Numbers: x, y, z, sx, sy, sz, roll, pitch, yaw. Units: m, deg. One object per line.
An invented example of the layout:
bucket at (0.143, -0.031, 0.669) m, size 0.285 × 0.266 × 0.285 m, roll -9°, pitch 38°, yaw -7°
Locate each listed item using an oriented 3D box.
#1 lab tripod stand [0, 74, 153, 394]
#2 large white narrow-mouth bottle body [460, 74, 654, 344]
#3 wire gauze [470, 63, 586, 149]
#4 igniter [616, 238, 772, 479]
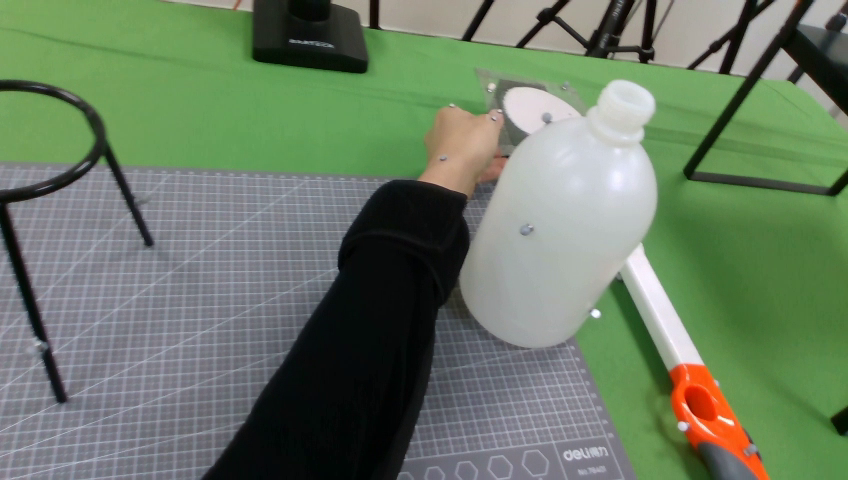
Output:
lab tripod stand at (-0.217, -0.008, 0.336) m, size 0.149 × 0.132 × 0.147 m, roll 11°, pitch 46°, yaw -11°
large white narrow-mouth bottle body at (0.094, -0.020, 0.407) m, size 0.102 × 0.196 × 0.101 m, roll 9°, pitch 46°, yaw -9°
wire gauze at (0.111, -0.126, 0.580) m, size 0.122 × 0.011 × 0.123 m, roll 2°, pitch 48°, yaw -19°
igniter at (0.197, 0.101, 0.450) m, size 0.057 × 0.025 × 0.273 m, roll 9°, pitch 45°, yaw -25°
